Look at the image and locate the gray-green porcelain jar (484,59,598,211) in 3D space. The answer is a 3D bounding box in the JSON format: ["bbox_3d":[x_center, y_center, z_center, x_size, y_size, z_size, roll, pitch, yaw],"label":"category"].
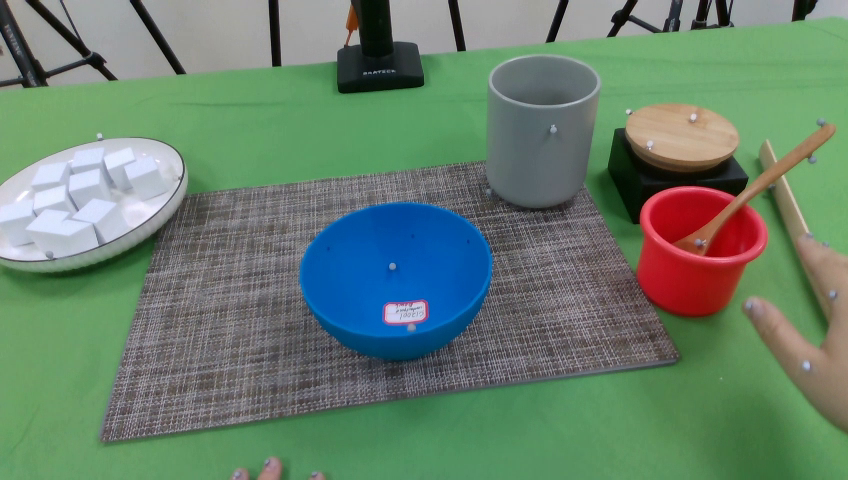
[{"bbox_3d":[0.114,-0.102,0.613,0.106,0.127,0.105,-2,42,2],"label":"gray-green porcelain jar"}]

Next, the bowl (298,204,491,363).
[{"bbox_3d":[-0.021,0.047,0.493,0.151,0.077,0.150,-2,42,2],"label":"bowl"}]

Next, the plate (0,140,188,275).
[{"bbox_3d":[-0.351,-0.034,0.636,0.209,0.038,0.207,-2,42,2],"label":"plate"}]

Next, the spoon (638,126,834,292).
[{"bbox_3d":[0.261,-0.024,0.510,0.022,0.194,0.041,30,22,-33],"label":"spoon"}]

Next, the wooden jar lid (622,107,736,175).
[{"bbox_3d":[0.256,-0.100,0.613,0.108,0.021,0.107,-2,42,2],"label":"wooden jar lid"}]

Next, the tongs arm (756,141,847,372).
[{"bbox_3d":[0.353,0.028,0.535,0.028,0.028,0.384,5,43,5],"label":"tongs arm"}]
